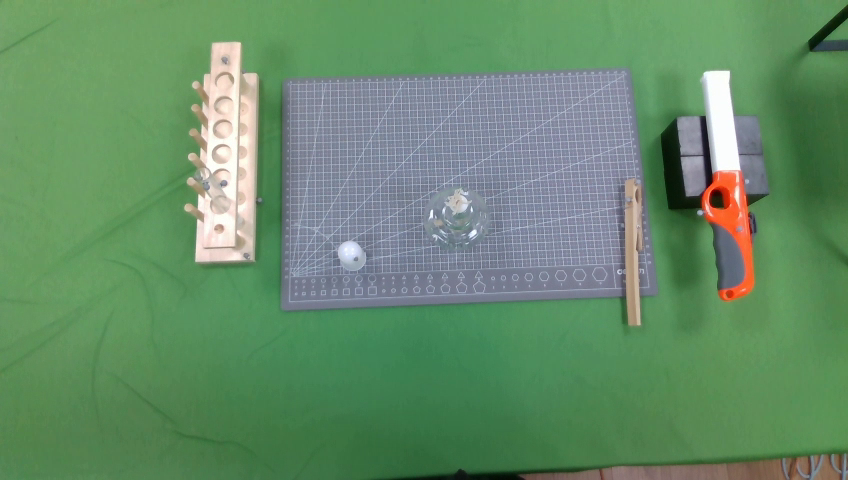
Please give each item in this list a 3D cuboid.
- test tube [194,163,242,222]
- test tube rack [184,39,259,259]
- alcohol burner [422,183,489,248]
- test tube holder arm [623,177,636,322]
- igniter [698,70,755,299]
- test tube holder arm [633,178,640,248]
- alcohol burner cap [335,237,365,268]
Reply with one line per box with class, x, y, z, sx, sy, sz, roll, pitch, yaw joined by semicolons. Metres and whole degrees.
test tube;-0.218;-0.047;0.650;0.017;0.151;0.017;1;74;-4
test tube rack;-0.241;-0.105;0.712;0.067;0.085;0.241;-2;77;-1
alcohol burner;0.036;-0.032;0.686;0.078;0.119;0.077;0;78;0
test tube holder arm;0.247;0.010;0.726;0.013;0.015;0.177;13;74;-29
igniter;0.346;-0.068;0.701;0.057;0.025;0.275;0;77;5
test tube holder arm;0.256;-0.032;0.739;0.010;0.015;0.087;14;74;-29
alcohol burner cap;-0.088;0.012;0.709;0.034;0.048;0.033;0;76;-1
